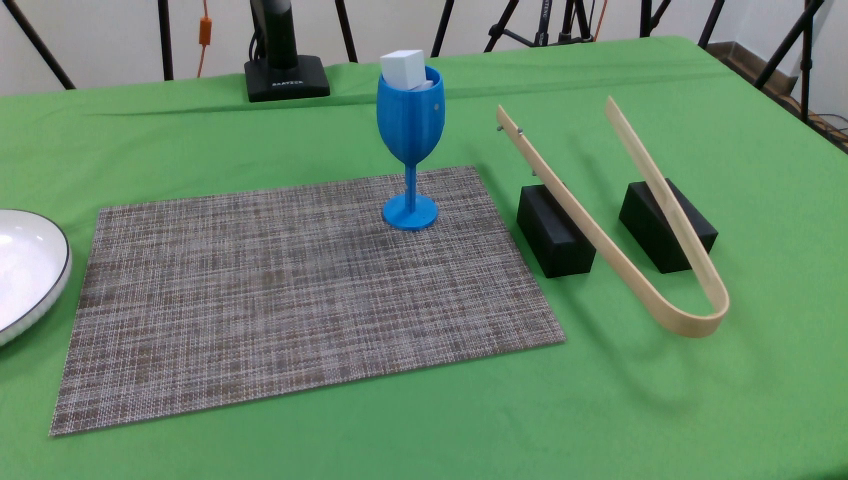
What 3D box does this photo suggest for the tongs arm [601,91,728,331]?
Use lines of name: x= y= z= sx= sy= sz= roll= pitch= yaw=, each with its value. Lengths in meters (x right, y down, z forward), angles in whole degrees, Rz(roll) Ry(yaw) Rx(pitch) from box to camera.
tongs arm: x=0.248 y=-0.058 z=0.663 sx=0.028 sy=0.028 sz=0.383 roll=3 pitch=42 yaw=-7

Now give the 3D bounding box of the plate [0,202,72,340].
plate: x=-0.446 y=0.041 z=0.577 sx=0.209 sy=0.038 sz=0.207 roll=2 pitch=42 yaw=-1

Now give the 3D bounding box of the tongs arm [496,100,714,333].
tongs arm: x=0.169 y=-0.049 z=0.648 sx=0.051 sy=0.027 sz=0.380 roll=-8 pitch=43 yaw=-15

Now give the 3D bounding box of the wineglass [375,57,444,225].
wineglass: x=-0.016 y=-0.102 z=0.652 sx=0.074 sy=0.174 sz=0.073 roll=1 pitch=42 yaw=-1
